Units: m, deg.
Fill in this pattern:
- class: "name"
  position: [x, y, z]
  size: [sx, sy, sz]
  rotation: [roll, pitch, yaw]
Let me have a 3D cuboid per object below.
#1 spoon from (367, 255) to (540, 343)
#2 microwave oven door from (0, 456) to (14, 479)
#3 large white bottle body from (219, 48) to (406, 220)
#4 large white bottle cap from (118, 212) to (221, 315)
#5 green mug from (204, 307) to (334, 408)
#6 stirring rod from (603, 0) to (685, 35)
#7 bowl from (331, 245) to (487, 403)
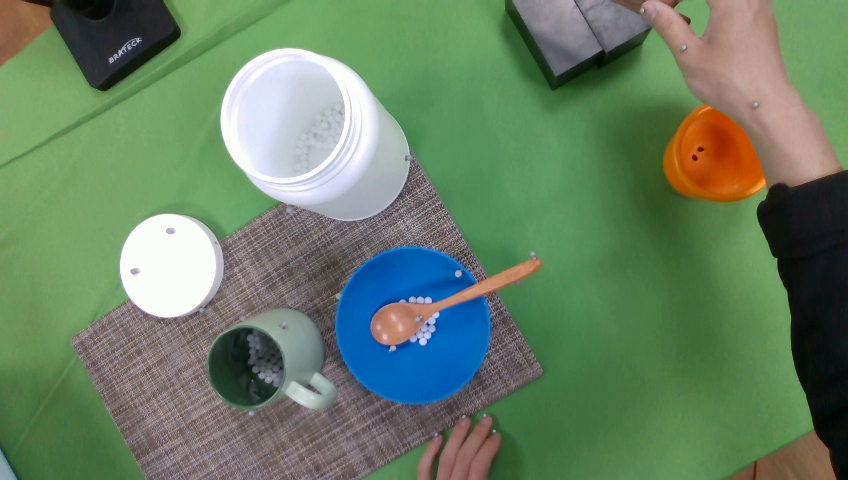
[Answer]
- class: "spoon"
  position: [0.023, 0.056, 0.573]
  size: [0.193, 0.021, 0.041]
  rotation: [-25, 91, 30]
- class: "microwave oven door"
  position: [-0.440, 0.366, 0.568]
  size: [0.039, 0.244, 0.355]
  rotation: [-33, 86, 6]
- class: "large white bottle body"
  position: [-0.097, -0.092, 0.563]
  size: [0.130, 0.185, 0.130]
  rotation: [-1, 86, 9]
- class: "large white bottle cap"
  position: [-0.282, 0.027, 0.672]
  size: [0.114, 0.018, 0.114]
  rotation: [0, 89, 8]
- class: "green mug"
  position: [-0.146, 0.126, 0.611]
  size: [0.125, 0.105, 0.092]
  rotation: [33, 93, 6]
- class: "stirring rod"
  position: [0.130, -0.211, 0.493]
  size: [0.175, 0.014, 0.006]
  rotation: [31, 57, 11]
- class: "bowl"
  position: [-0.010, 0.079, 0.606]
  size: [0.151, 0.077, 0.151]
  rotation: [0, 90, 8]
